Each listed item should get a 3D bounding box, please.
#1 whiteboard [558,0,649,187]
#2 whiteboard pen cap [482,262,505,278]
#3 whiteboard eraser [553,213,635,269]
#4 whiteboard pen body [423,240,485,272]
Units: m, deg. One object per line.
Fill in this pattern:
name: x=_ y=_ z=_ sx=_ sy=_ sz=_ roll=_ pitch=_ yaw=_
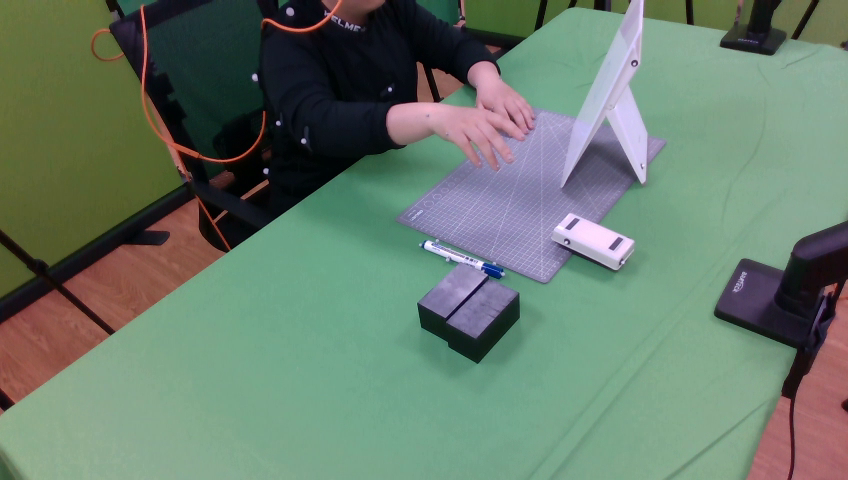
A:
whiteboard: x=0.361 y=-0.238 z=1.026 sx=0.144 sy=0.306 sz=0.217 roll=21 pitch=44 yaw=3
whiteboard pen cap: x=0.104 y=0.044 z=0.912 sx=0.033 sy=0.018 sz=0.018 roll=23 pitch=49 yaw=28
whiteboard eraser: x=0.257 y=0.003 z=0.918 sx=0.112 sy=0.042 sz=0.056 roll=27 pitch=49 yaw=30
whiteboard pen body: x=0.057 y=0.027 z=0.942 sx=0.139 sy=0.017 sz=0.017 roll=21 pitch=48 yaw=30
